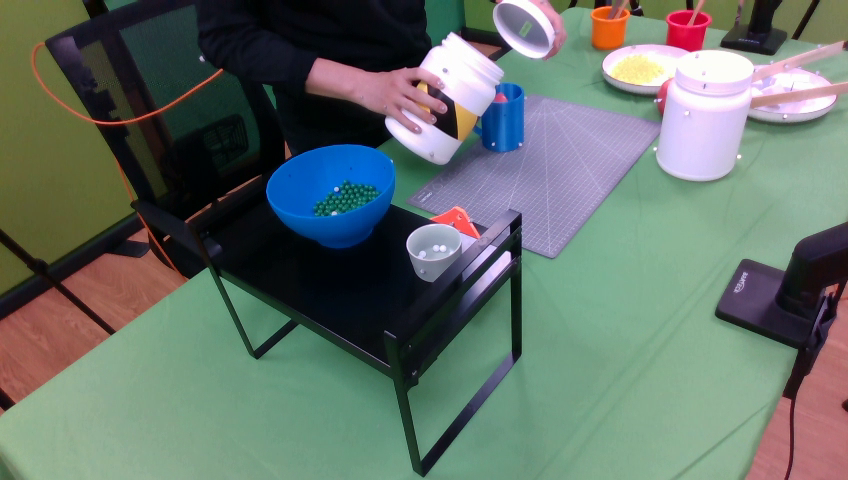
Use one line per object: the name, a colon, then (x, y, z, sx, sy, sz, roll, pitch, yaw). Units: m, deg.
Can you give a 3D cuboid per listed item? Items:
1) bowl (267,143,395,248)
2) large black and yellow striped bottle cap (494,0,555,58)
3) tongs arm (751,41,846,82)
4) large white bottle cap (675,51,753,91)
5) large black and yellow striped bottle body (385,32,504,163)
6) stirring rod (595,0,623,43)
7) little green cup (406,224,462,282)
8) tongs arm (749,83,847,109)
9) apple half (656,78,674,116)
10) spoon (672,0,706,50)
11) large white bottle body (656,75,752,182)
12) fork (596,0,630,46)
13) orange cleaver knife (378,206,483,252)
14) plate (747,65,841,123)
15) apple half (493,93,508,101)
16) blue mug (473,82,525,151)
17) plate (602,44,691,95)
bowl: (-0.104, -0.043, 0.726, 0.151, 0.077, 0.150, -4, 41, 4)
large black and yellow striped bottle cap: (0.167, -0.352, 1.003, 0.114, 0.116, 0.019, 31, 75, 36)
tongs arm: (0.708, -0.331, 1.194, 0.386, 0.026, 0.050, -18, 45, -16)
large white bottle cap: (0.463, -0.271, 0.967, 0.115, 0.018, 0.114, -4, 40, 4)
large black and yellow striped bottle body: (0.035, -0.236, 1.007, 0.131, 0.184, 0.130, 34, 19, -12)
stirring rod: (0.460, -0.556, 1.459, 0.014, 0.006, 0.176, 30, 93, 23)
little green cup: (0.013, 0.015, 0.668, 0.061, 0.039, 0.061, -4, 40, 4)
tongs arm: (0.734, -0.280, 1.134, 0.388, 0.028, 0.028, -9, 47, -5)
apple half: (0.488, -0.281, 1.192, 0.053, 0.075, 0.081, 24, 54, 37)
spoon: (0.629, -0.520, 1.394, 0.041, 0.022, 0.193, 30, 97, 35)
large white bottle body: (0.472, -0.207, 1.022, 0.130, 0.185, 0.130, -4, 41, 4)
fork: (0.481, -0.556, 1.452, 0.028, 0.019, 0.207, 40, 103, 40)
orange cleaver knife: (0.005, -0.010, 0.943, 0.210, 0.077, 0.012, -5, 23, 47)
plate: (0.695, -0.282, 1.189, 0.207, 0.039, 0.206, -4, 40, 4)
apple half: (0.141, -0.238, 1.159, 0.033, 0.081, 0.080, -13, 40, -15)
blue mug: (0.138, -0.240, 1.169, 0.116, 0.106, 0.082, 10, 44, 21)
plate: (0.495, -0.367, 1.317, 0.209, 0.038, 0.208, -4, 40, 4)
